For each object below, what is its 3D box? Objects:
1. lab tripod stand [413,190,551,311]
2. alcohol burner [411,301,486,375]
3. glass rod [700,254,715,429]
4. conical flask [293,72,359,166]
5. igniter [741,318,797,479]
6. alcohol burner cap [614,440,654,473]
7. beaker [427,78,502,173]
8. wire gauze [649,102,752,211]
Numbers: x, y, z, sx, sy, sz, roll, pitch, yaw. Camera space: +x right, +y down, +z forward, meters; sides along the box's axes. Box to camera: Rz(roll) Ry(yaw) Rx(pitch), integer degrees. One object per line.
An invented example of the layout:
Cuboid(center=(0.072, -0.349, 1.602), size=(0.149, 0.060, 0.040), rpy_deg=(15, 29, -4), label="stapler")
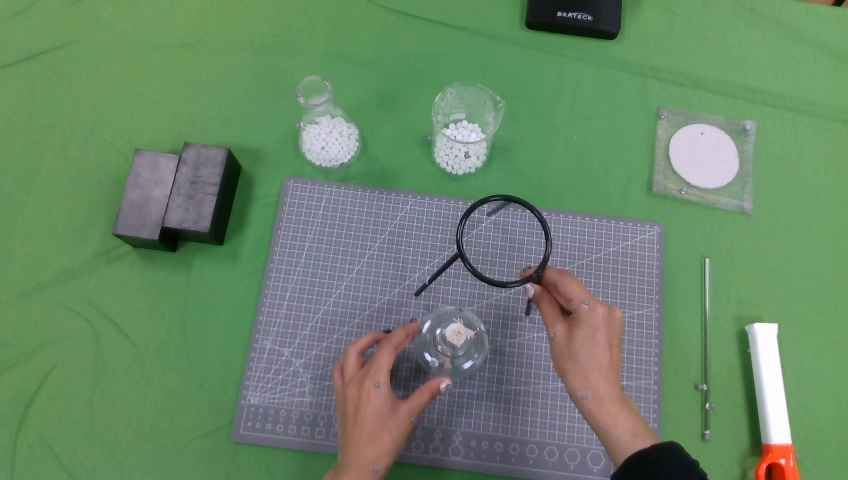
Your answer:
Cuboid(center=(0.062, 0.016, 0.612), size=(0.148, 0.132, 0.147), rpy_deg=(2, 76, -6), label="lab tripod stand")
Cuboid(center=(0.026, 0.097, 0.614), size=(0.078, 0.119, 0.077), rpy_deg=(1, 73, -3), label="alcohol burner")
Cuboid(center=(0.318, 0.110, 0.678), size=(0.008, 0.008, 0.198), rpy_deg=(11, 74, 1), label="glass rod")
Cuboid(center=(-0.115, -0.138, 0.672), size=(0.075, 0.122, 0.075), rpy_deg=(0, 74, -1), label="conical flask")
Cuboid(center=(0.368, 0.220, 0.638), size=(0.057, 0.025, 0.275), rpy_deg=(4, 75, -12), label="igniter")
Cuboid(center=(0.219, 0.224, 0.622), size=(0.034, 0.048, 0.033), rpy_deg=(1, 74, -2), label="alcohol burner cap")
Cuboid(center=(0.043, -0.126, 0.686), size=(0.084, 0.100, 0.073), rpy_deg=(-19, 76, -7), label="beaker")
Cuboid(center=(0.336, -0.105, 0.736), size=(0.125, 0.011, 0.121), rpy_deg=(12, 75, 0), label="wire gauze")
